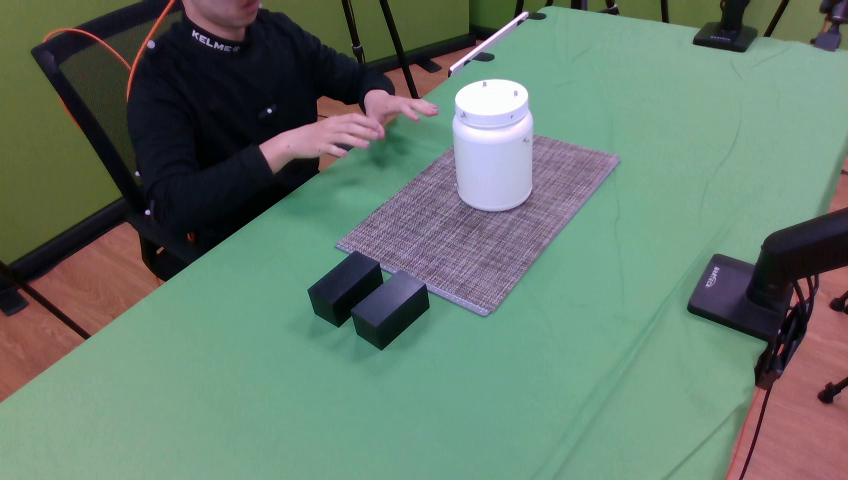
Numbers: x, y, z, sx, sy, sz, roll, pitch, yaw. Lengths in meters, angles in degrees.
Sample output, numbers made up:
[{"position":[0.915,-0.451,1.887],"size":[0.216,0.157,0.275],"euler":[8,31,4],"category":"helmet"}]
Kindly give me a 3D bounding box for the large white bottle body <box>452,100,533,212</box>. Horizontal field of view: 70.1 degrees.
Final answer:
[{"position":[0.115,-0.155,1.001],"size":[0.130,0.185,0.130],"euler":[-5,41,4],"category":"large white bottle body"}]

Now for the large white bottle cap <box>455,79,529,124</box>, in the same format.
[{"position":[0.106,-0.218,0.945],"size":[0.115,0.018,0.114],"euler":[-4,41,4],"category":"large white bottle cap"}]
